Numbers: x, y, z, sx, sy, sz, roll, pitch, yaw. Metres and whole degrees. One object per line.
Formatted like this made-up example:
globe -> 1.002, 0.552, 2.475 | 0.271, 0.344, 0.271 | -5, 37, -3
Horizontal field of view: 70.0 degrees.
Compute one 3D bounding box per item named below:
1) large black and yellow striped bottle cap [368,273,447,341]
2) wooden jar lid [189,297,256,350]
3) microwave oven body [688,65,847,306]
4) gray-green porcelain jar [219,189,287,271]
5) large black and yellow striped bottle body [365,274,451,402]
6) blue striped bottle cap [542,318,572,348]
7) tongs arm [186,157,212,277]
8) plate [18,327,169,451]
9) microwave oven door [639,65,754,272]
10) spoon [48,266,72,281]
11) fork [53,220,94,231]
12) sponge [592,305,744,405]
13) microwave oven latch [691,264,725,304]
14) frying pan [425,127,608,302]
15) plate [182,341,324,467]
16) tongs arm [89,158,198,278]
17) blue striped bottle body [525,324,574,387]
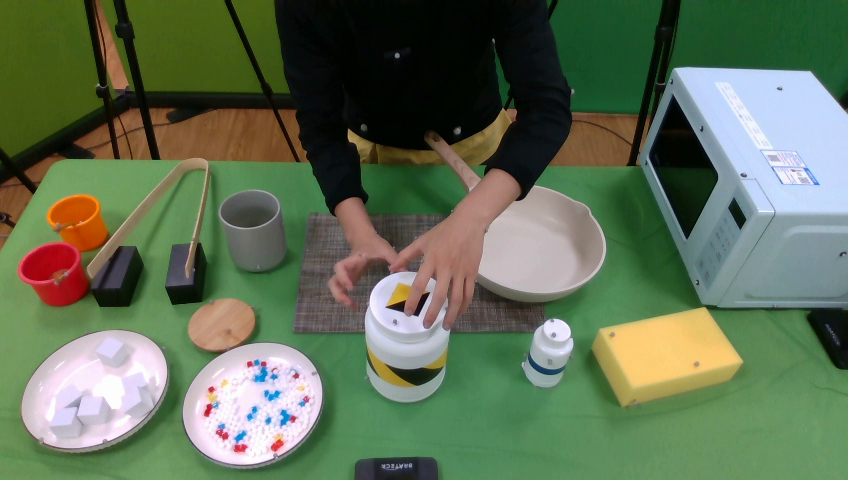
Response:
large black and yellow striped bottle cap -> -0.024, 0.094, 0.875 | 0.115, 0.019, 0.114 | 2, 45, -2
wooden jar lid -> -0.342, 0.145, 1.033 | 0.108, 0.021, 0.107 | 3, 45, -2
microwave oven body -> 0.669, -0.111, 1.176 | 0.326, 0.261, 0.439 | 0, 46, -3
gray-green porcelain jar -> -0.309, -0.014, 1.113 | 0.106, 0.127, 0.105 | 2, 46, -2
large black and yellow striped bottle body -> -0.025, 0.151, 0.936 | 0.131, 0.185, 0.130 | 1, 47, -1
blue striped bottle cap -> 0.205, 0.143, 0.933 | 0.044, 0.021, 0.044 | 0, 47, 1
tongs arm -> -0.445, -0.058, 1.168 | 0.051, 0.026, 0.382 | -5, 37, -6
plate -> -0.498, 0.229, 0.929 | 0.208, 0.039, 0.206 | 3, 46, -2
microwave oven door -> 0.522, -0.147, 1.193 | 0.039, 0.245, 0.353 | 1, 47, -3
spoon -> -0.609, 0.057, 1.010 | 0.041, 0.022, 0.193 | -32, 13, -27
fork -> -0.627, -0.027, 1.086 | 0.028, 0.018, 0.207 | -1, 2, -15
sponge -> 0.405, 0.190, 1.015 | 0.207, 0.061, 0.117 | -10, 48, -13
microwave oven latch -> 0.521, 0.081, 1.116 | 0.030, 0.029, 0.078 | 0, 46, -3
frying pan -> 0.143, -0.069, 1.208 | 0.307, 0.103, 0.485 | -23, 60, -24
plate -> -0.257, 0.250, 0.927 | 0.209, 0.038, 0.208 | 3, 46, -2
tongs arm -> -0.530, -0.058, 1.164 | 0.028, 0.028, 0.385 | 1, 36, 8
blue striped bottle body -> 0.202, 0.179, 0.970 | 0.063, 0.121, 0.062 | 2, 46, -2
